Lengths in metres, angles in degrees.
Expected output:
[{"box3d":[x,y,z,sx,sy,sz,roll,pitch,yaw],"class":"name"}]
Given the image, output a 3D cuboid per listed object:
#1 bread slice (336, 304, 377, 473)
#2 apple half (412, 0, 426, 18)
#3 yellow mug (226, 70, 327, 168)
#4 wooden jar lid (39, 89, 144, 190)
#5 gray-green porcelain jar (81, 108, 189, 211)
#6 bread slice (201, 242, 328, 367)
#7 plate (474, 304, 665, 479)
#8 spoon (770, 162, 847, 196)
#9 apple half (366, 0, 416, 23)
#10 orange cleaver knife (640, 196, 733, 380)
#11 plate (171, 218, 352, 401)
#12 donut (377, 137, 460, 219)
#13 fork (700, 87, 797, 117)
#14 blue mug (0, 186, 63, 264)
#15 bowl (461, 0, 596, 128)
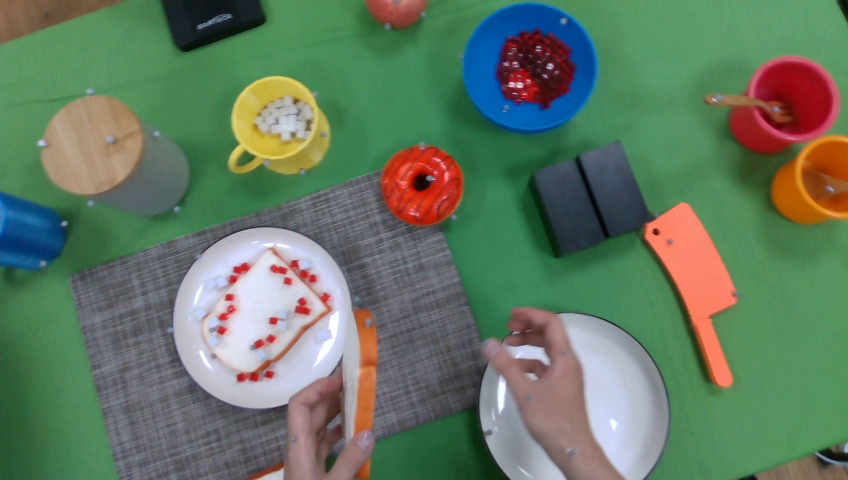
[{"box3d":[-0.062,0.127,0.550,0.018,0.106,0.135,2,108,-16],"class":"bread slice"},{"box3d":[-0.025,-0.317,0.736,0.080,0.075,0.053,37,79,11],"class":"apple half"},{"box3d":[-0.183,-0.132,0.721,0.131,0.064,0.099,-43,83,-3],"class":"yellow mug"},{"box3d":[-0.343,-0.103,0.631,0.108,0.021,0.108,-1,80,4],"class":"wooden jar lid"},{"box3d":[-0.340,-0.093,0.692,0.106,0.127,0.105,0,81,3],"class":"gray-green porcelain jar"},{"box3d":[-0.192,0.083,0.702,0.104,0.019,0.131,44,87,8],"class":"bread slice"},{"box3d":[0.159,0.177,0.676,0.209,0.038,0.208,0,82,3],"class":"plate"},{"box3d":[0.472,-0.061,0.640,0.022,0.192,0.041,26,81,-38],"class":"spoon"},{"box3d":[-0.048,-0.286,0.731,0.081,0.081,0.033,37,80,8],"class":"apple half"},{"box3d":[0.315,0.052,0.696,0.077,0.012,0.210,-17,80,-7],"class":"orange cleaver knife"},{"box3d":[-0.184,0.079,0.702,0.207,0.039,0.207,0,82,3],"class":"plate"},{"box3d":[-0.006,-0.073,0.712,0.099,0.048,0.098,0,82,2],"class":"donut"},{"box3d":[0.357,-0.153,0.659,0.208,0.018,0.028,-5,79,-40],"class":"fork"},{"box3d":[-0.500,-0.008,0.698,0.116,0.106,0.082,-44,82,-4],"class":"blue mug"},{"box3d":[0.117,-0.195,0.710,0.151,0.077,0.151,0,82,3],"class":"bowl"}]
